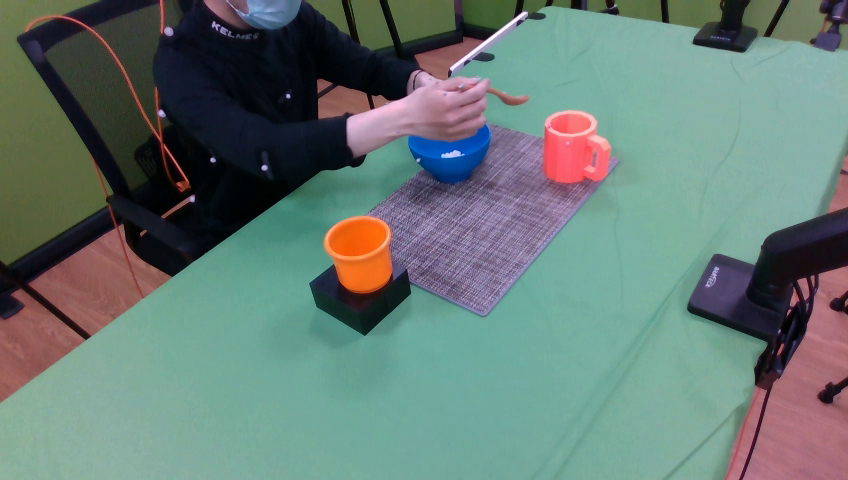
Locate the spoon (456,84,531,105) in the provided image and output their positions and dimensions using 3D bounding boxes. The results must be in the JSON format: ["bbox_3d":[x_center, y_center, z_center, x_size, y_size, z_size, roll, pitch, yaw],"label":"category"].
[{"bbox_3d":[0.109,-0.232,0.950,0.041,0.021,0.195,1,3,40],"label":"spoon"}]

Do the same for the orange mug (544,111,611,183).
[{"bbox_3d":[0.266,-0.157,1.049,0.084,0.101,0.125,-33,42,-27],"label":"orange mug"}]

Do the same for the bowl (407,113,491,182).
[{"bbox_3d":[0.048,-0.159,1.097,0.151,0.077,0.150,-4,40,4],"label":"bowl"}]
